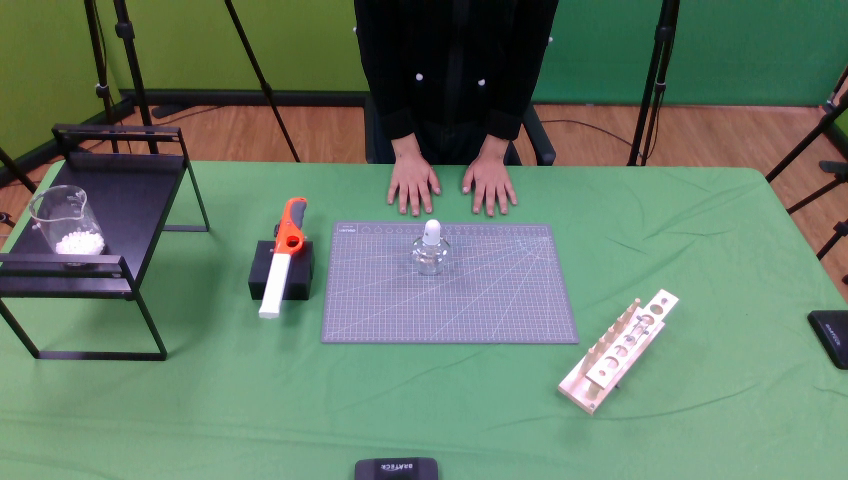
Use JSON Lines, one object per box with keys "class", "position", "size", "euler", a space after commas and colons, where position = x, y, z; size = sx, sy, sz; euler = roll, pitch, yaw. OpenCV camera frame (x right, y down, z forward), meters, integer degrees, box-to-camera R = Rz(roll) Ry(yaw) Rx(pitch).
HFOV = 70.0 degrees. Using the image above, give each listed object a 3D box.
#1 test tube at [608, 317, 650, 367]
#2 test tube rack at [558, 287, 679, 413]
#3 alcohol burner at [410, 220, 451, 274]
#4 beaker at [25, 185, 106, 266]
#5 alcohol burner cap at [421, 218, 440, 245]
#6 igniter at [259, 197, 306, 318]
{"class": "test tube", "position": [0.314, 0.168, 0.942], "size": [0.017, 0.151, 0.017], "euler": [5, 48, -6]}
{"class": "test tube rack", "position": [0.326, 0.170, 1.009], "size": [0.066, 0.085, 0.242], "euler": [36, 54, 26]}
{"class": "alcohol burner", "position": [0.013, 0.007, 1.120], "size": [0.078, 0.120, 0.077], "euler": [1, 48, -1]}
{"class": "beaker", "position": [-0.507, -0.017, 0.872], "size": [0.084, 0.101, 0.074], "euler": [23, 49, 17]}
{"class": "alcohol burner cap", "position": [0.014, -0.018, 1.095], "size": [0.034, 0.048, 0.033], "euler": [5, 44, -5]}
{"class": "igniter", "position": [-0.252, 0.021, 1.088], "size": [0.057, 0.025, 0.275], "euler": [4, 48, -2]}
